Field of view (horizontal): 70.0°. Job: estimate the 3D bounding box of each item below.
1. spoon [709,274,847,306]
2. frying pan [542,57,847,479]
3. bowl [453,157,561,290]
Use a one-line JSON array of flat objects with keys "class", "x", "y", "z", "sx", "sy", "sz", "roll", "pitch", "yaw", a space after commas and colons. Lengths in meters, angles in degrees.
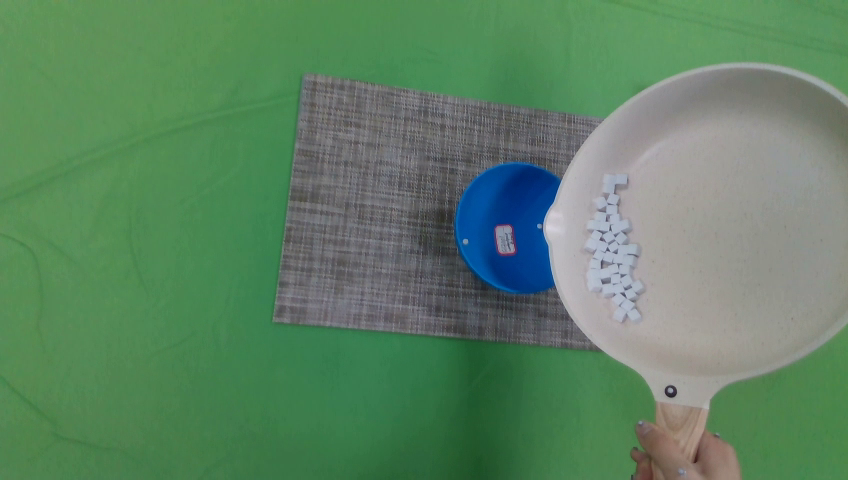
[{"class": "spoon", "x": 0.446, "y": 0.067, "z": 0.723, "sx": 0.022, "sy": 0.192, "sz": 0.041, "roll": 29, "pitch": 70, "yaw": -51}, {"class": "frying pan", "x": 0.229, "y": 0.077, "z": 0.527, "sx": 0.104, "sy": 0.305, "sz": 0.485, "roll": 31, "pitch": 68, "yaw": -41}, {"class": "bowl", "x": 0.100, "y": -0.013, "z": 0.701, "sx": 0.152, "sy": 0.077, "sz": 0.151, "roll": 2, "pitch": 80, "yaw": -11}]
